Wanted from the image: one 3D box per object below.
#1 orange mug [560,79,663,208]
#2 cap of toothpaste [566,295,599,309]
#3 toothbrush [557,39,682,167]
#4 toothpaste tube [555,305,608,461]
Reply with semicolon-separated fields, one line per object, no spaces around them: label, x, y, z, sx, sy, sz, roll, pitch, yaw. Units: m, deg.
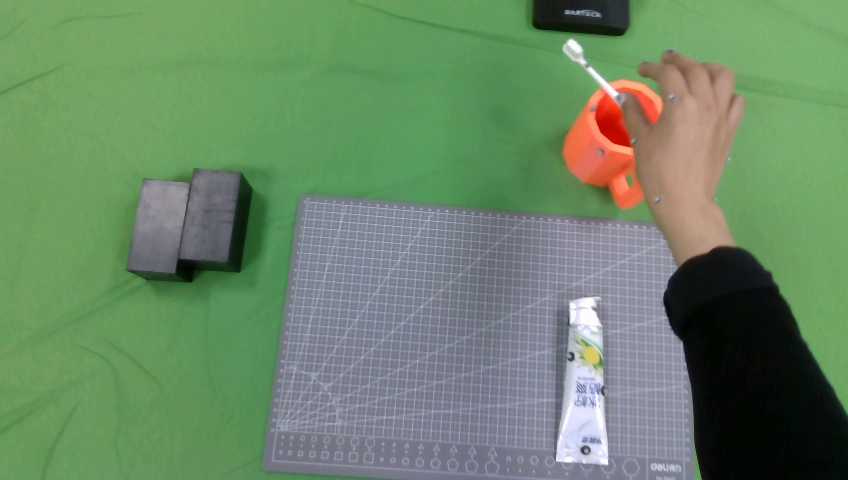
orange mug;0.214;-0.103;0.679;0.083;0.101;0.125;-17;73;-6
cap of toothpaste;0.174;0.069;0.662;0.037;0.037;0.011;-8;73;-5
toothbrush;0.205;-0.145;0.635;0.014;0.017;0.181;-39;81;-13
toothpaste tube;0.168;0.149;0.647;0.055;0.034;0.164;2;79;5
